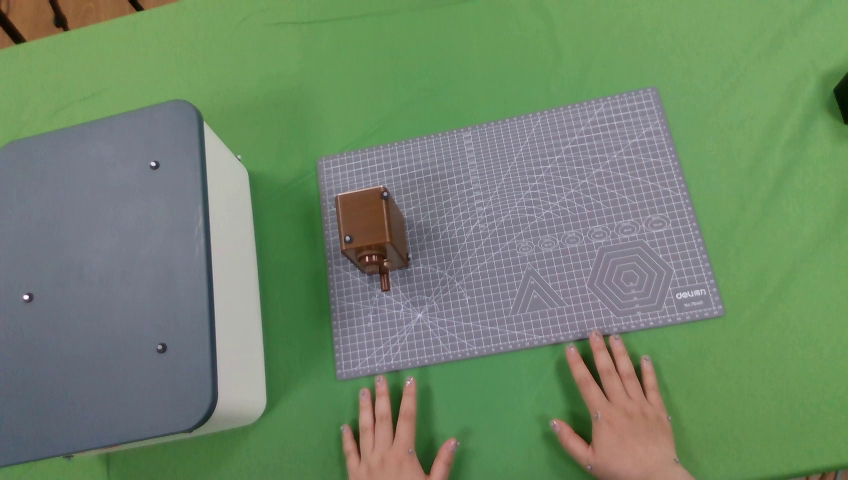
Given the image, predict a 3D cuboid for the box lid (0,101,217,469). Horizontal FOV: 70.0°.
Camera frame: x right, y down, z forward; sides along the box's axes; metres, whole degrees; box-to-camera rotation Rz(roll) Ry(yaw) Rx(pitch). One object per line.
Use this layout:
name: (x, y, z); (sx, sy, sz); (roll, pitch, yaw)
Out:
box lid: (-0.354, 0.032, 0.642); (0.263, 0.015, 0.369); (-13, 71, 5)

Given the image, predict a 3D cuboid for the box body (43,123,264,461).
box body: (-0.342, 0.057, 0.711); (0.254, 0.161, 0.361); (-13, 71, 5)

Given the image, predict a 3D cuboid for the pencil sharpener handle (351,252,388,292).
pencil sharpener handle: (-0.057, 0.037, 0.684); (0.036, 0.068, 0.030); (-13, 71, 14)

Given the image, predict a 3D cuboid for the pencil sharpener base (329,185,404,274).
pencil sharpener base: (-0.064, -0.006, 0.711); (0.061, 0.108, 0.076); (-10, 72, 6)
